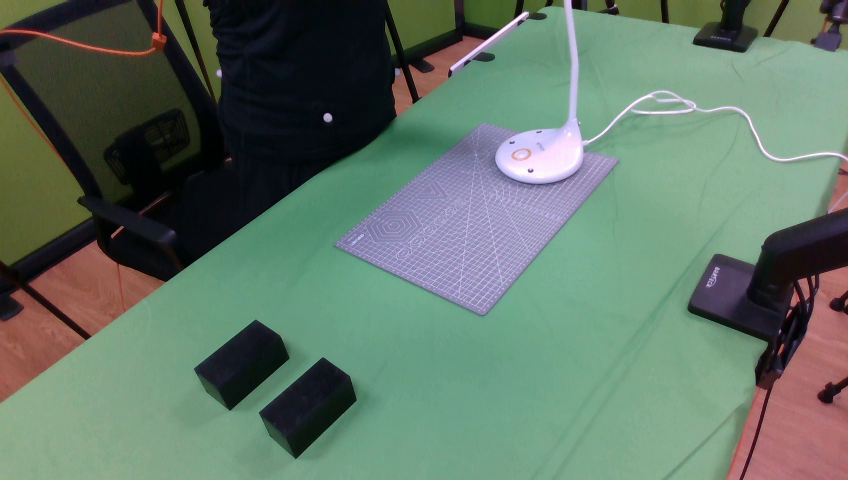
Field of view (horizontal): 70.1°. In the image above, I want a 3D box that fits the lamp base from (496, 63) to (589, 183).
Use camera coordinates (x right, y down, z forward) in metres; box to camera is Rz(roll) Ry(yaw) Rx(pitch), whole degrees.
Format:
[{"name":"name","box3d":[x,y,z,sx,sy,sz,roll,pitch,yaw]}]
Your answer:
[{"name":"lamp base","box3d":[0.216,-0.217,1.067,0.180,0.181,0.159,-19,42,-18]}]
